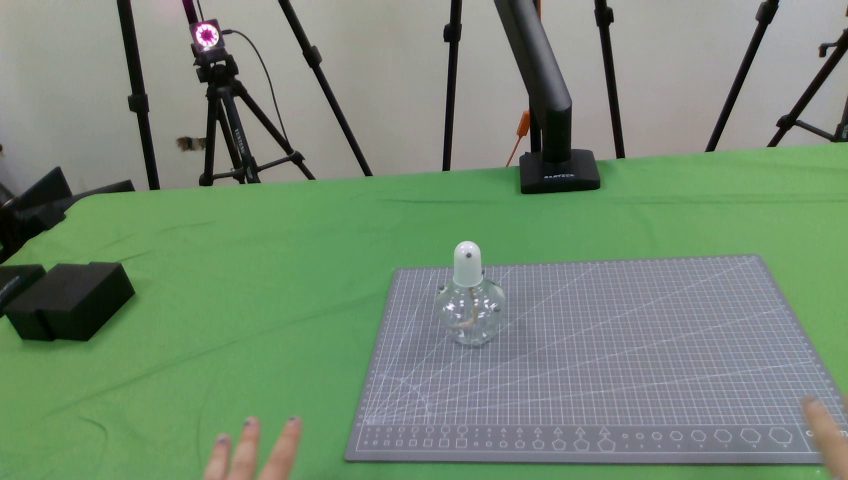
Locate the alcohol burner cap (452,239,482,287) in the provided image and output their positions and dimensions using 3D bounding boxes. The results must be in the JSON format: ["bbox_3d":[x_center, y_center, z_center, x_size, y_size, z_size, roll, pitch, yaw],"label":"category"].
[{"bbox_3d":[0.045,0.021,0.632,0.034,0.048,0.033,-2,35,1],"label":"alcohol burner cap"}]

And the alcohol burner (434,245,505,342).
[{"bbox_3d":[0.048,0.052,0.652,0.078,0.120,0.077,-5,34,4],"label":"alcohol burner"}]
